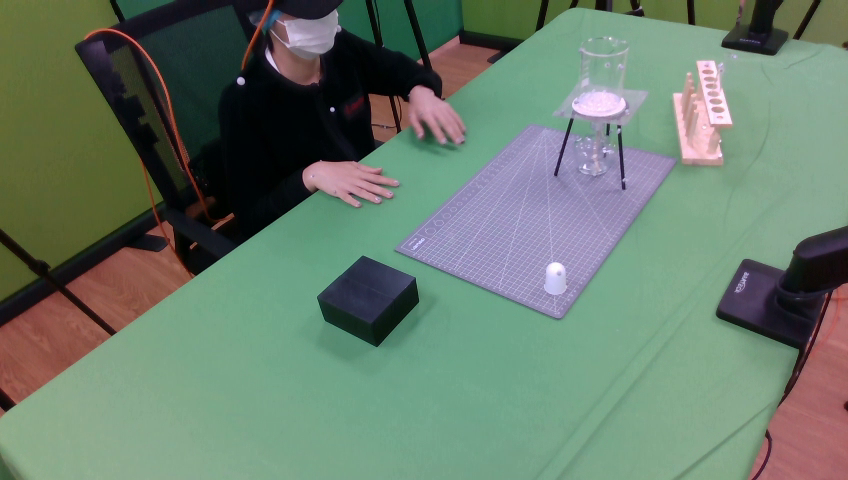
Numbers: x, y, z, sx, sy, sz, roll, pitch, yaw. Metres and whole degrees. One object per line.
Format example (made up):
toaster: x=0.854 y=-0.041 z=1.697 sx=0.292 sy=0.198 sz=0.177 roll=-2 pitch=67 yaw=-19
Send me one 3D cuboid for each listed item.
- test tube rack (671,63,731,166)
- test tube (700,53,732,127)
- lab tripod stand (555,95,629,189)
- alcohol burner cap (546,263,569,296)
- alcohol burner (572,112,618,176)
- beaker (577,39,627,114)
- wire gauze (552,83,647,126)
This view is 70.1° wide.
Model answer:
test tube rack: x=0.513 y=-0.241 z=1.132 sx=0.066 sy=0.085 sz=0.242 roll=4 pitch=41 yaw=14
test tube: x=0.521 y=-0.265 z=1.081 sx=0.017 sy=0.151 sz=0.017 roll=-3 pitch=47 yaw=3
lab tripod stand: x=0.300 y=-0.174 z=1.045 sx=0.148 sy=0.132 sz=0.147 roll=-5 pitch=38 yaw=5
alcohol burner cap: x=0.191 y=0.053 z=0.862 sx=0.034 sy=0.048 sz=0.033 roll=-5 pitch=40 yaw=4
alcohol burner: x=0.301 y=-0.173 z=1.058 sx=0.078 sy=0.119 sz=0.077 roll=-3 pitch=41 yaw=4
beaker: x=0.286 y=-0.264 z=0.976 sx=0.073 sy=0.101 sz=0.084 roll=25 pitch=49 yaw=33
wire gauze: x=0.293 y=-0.224 z=1.004 sx=0.120 sy=0.011 sz=0.125 roll=19 pitch=43 yaw=26
